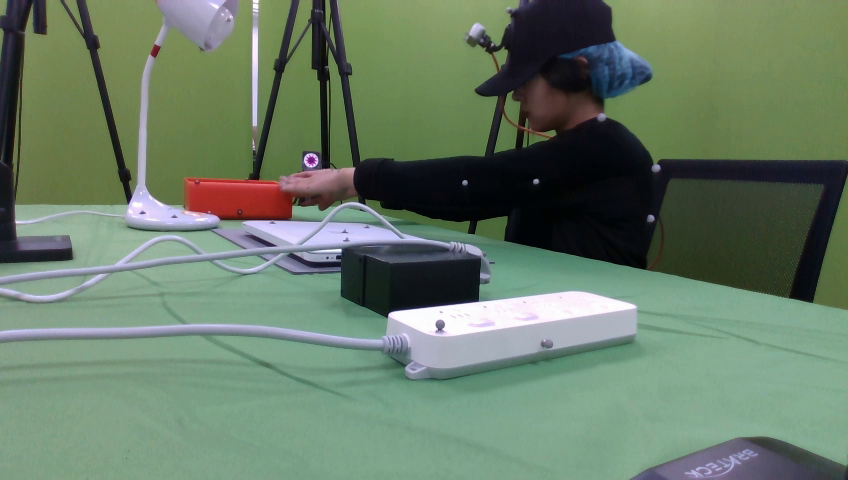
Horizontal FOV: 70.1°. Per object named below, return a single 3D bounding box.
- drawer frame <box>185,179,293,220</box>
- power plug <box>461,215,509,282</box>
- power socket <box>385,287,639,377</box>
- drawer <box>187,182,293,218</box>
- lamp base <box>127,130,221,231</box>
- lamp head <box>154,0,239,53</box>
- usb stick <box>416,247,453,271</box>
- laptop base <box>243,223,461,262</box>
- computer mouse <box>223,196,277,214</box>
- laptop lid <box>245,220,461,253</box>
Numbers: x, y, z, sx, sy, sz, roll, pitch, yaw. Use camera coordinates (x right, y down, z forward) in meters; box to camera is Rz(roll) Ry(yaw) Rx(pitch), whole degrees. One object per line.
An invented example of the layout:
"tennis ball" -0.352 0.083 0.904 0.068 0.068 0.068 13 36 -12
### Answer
"drawer frame" -0.420 -0.094 1.369 0.214 0.082 0.200 -2 9 -25
"power plug" 0.064 0.012 0.625 0.053 0.072 0.035 -2 39 -4
"power socket" 0.074 0.064 0.461 0.228 0.032 0.072 -3 8 -34
"drawer" -0.418 -0.093 1.371 0.213 0.073 0.193 -2 9 -24
"lamp base" -0.469 -0.112 1.108 0.179 0.180 0.160 0 7 3
"lamp head" -0.406 -0.402 1.059 0.123 0.112 0.112 25 5 -6
"usb stick" 0.009 0.024 0.755 0.027 0.021 0.059 37 -18 -16
"laptop base" -0.126 0.003 0.945 0.237 0.023 0.352 2 6 -31
"computer mouse" -0.392 -0.079 1.367 0.118 0.041 0.062 -2 6 -24
"laptop lid" -0.124 -0.009 0.945 0.243 0.013 0.355 1 7 -29
